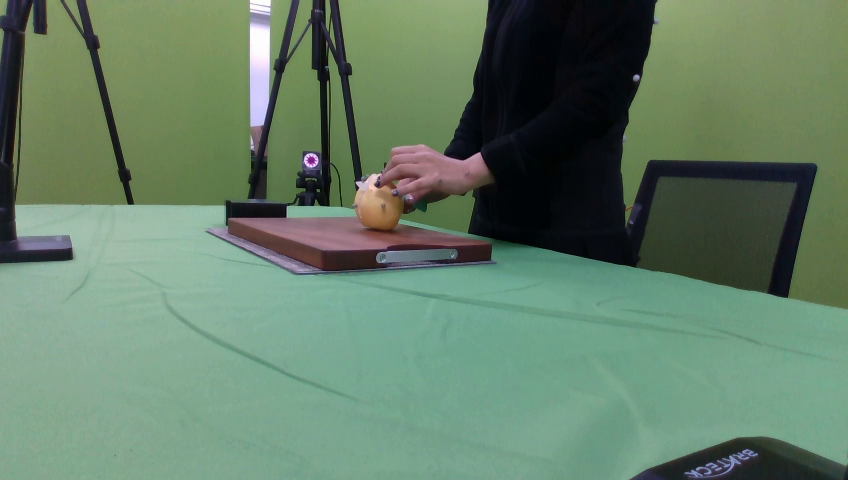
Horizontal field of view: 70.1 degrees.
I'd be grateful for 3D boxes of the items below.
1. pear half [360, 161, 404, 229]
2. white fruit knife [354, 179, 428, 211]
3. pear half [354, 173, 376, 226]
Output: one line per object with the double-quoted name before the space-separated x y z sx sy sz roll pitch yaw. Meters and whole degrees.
"pear half" -0.060 -0.072 0.971 0.056 0.110 0.076 11 12 27
"white fruit knife" -0.052 -0.079 1.023 0.016 0.027 0.208 3 -6 32
"pear half" -0.094 -0.067 0.991 0.031 0.088 0.071 7 11 29
